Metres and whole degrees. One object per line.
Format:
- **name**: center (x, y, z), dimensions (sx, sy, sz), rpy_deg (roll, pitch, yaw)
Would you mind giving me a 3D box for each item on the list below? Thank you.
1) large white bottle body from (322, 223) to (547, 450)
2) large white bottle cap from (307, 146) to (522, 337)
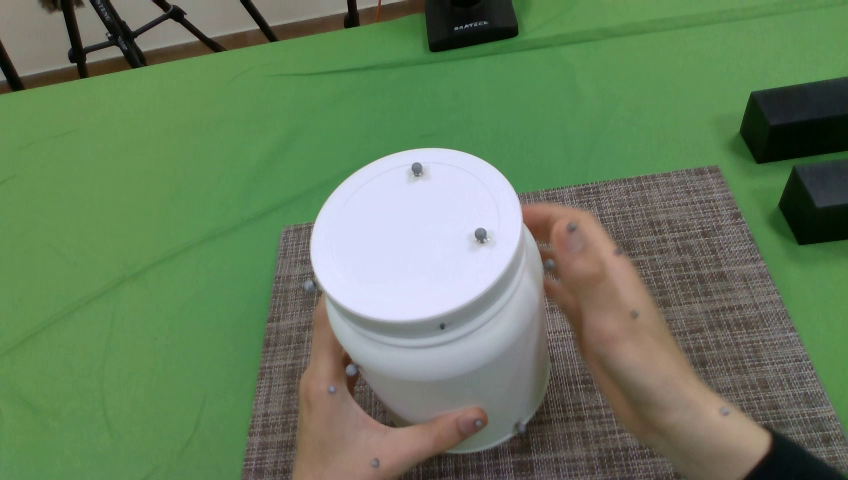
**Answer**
- **large white bottle body**: center (0.011, 0.047, 0.395), dimensions (0.130, 0.186, 0.129), rpy_deg (-6, 54, 9)
- **large white bottle cap**: center (-0.006, -0.003, 0.322), dimensions (0.114, 0.018, 0.113), rpy_deg (-6, 55, 9)
